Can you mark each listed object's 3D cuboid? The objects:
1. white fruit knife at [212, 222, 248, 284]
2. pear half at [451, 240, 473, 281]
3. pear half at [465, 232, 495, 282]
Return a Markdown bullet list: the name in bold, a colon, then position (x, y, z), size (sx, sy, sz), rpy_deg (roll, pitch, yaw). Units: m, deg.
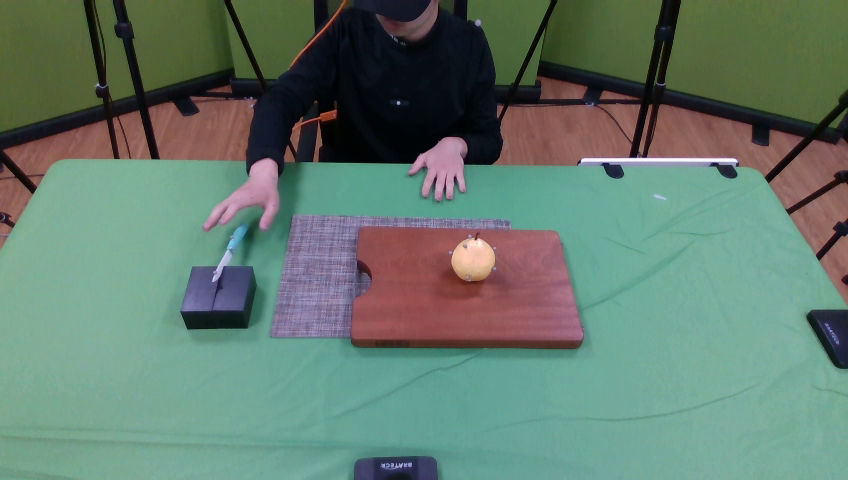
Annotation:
- **white fruit knife**: position (-0.355, 0.020, 1.111), size (0.016, 0.027, 0.206), rpy_deg (-1, 30, 1)
- **pear half**: position (0.065, 0.036, 1.085), size (0.031, 0.088, 0.070), rpy_deg (-11, 50, -14)
- **pear half**: position (0.100, 0.024, 1.085), size (0.056, 0.110, 0.076), rpy_deg (-11, 51, -14)
